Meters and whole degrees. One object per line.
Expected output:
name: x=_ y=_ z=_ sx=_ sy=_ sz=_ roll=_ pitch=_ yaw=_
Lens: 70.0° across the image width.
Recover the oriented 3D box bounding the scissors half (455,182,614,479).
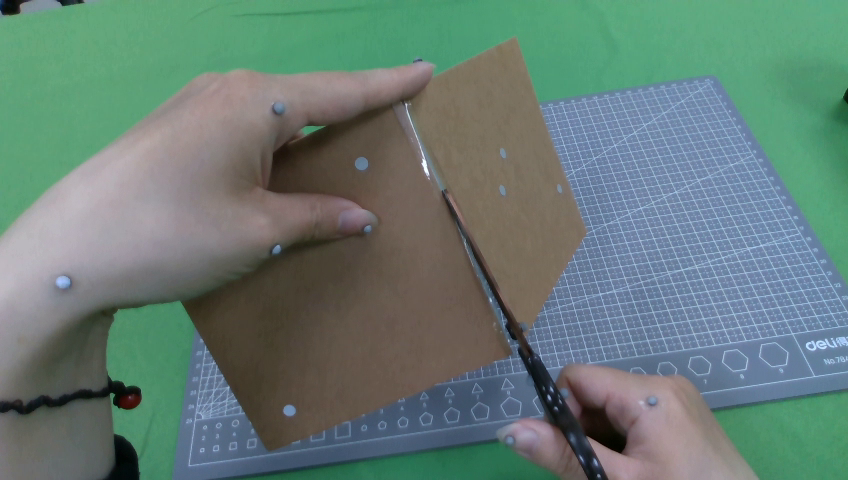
scissors half: x=0.051 y=0.053 z=0.277 sx=0.013 sy=0.040 sz=0.175 roll=-24 pitch=86 yaw=-11

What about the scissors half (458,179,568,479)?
scissors half: x=0.047 y=0.051 z=0.298 sx=0.013 sy=0.176 sz=0.039 roll=-23 pitch=17 yaw=-6

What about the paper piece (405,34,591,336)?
paper piece: x=0.052 y=-0.037 z=0.332 sx=0.004 sy=0.136 sz=0.135 roll=-15 pitch=17 yaw=37

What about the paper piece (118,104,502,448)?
paper piece: x=-0.050 y=0.023 z=0.290 sx=0.138 sy=0.137 sz=0.008 roll=-22 pitch=15 yaw=2
